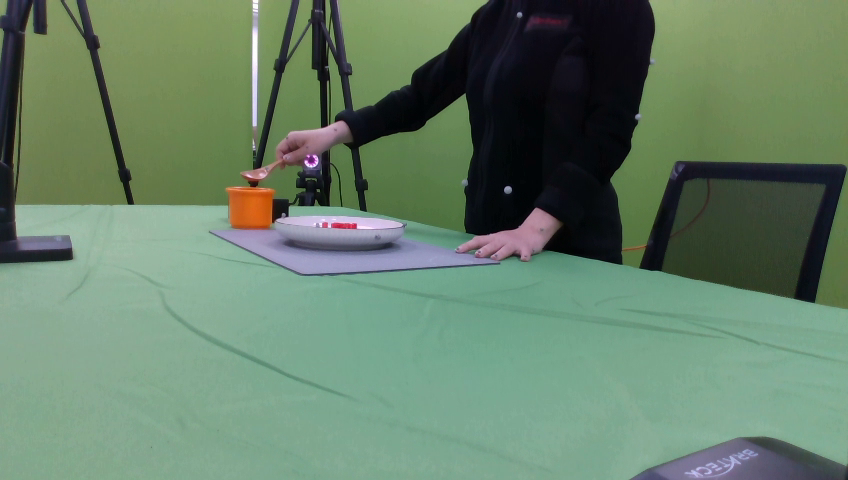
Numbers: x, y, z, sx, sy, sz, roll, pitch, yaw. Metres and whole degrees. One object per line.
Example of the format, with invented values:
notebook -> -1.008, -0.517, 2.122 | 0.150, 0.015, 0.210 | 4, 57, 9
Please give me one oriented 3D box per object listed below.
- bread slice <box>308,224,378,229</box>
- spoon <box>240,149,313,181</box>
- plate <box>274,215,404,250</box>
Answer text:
bread slice -> -0.133, -0.011, 0.974 | 0.135, 0.018, 0.106 | -3, 8, -33
spoon -> -0.287, -0.153, 1.208 | 0.041, 0.021, 0.194 | 23, 38, 25
plate -> -0.136, -0.013, 0.981 | 0.209, 0.038, 0.209 | 2, 7, 0
